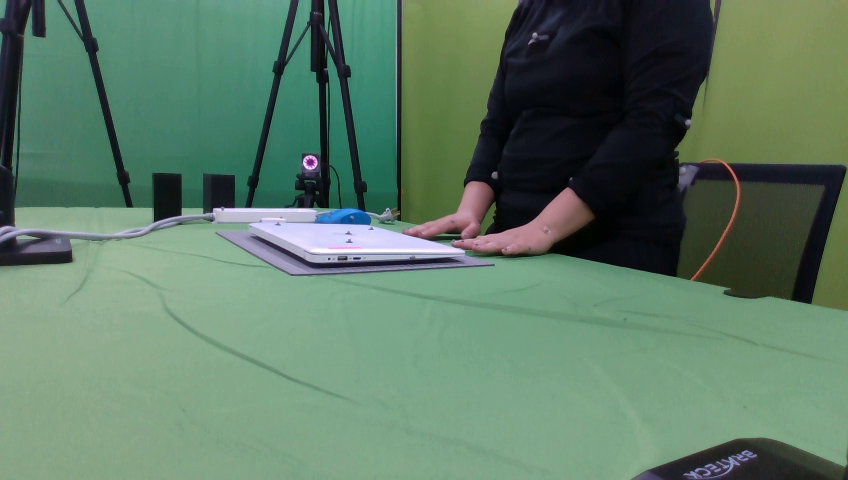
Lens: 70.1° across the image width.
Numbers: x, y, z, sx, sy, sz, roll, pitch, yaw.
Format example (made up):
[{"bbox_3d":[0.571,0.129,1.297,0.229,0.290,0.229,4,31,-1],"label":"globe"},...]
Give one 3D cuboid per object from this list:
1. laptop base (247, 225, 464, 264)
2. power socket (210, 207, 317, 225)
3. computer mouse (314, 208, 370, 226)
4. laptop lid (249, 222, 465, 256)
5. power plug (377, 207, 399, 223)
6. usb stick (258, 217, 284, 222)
[{"bbox_3d":[-0.125,0.006,0.955,0.237,0.023,0.352,2,6,-30],"label":"laptop base"},{"bbox_3d":[-0.335,-0.051,1.281,0.228,0.032,0.072,-1,9,-29],"label":"power socket"},{"bbox_3d":[-0.175,-0.047,1.292,0.118,0.041,0.062,-7,14,-34],"label":"computer mouse"},{"bbox_3d":[-0.121,-0.005,0.955,0.243,0.013,0.355,1,7,-28],"label":"laptop lid"},{"bbox_3d":[-0.085,-0.063,1.420,0.053,0.035,0.072,-24,21,-3],"label":"power plug"},{"bbox_3d":[-0.291,-0.028,1.119,0.059,0.027,0.021,-3,13,-29],"label":"usb stick"}]
